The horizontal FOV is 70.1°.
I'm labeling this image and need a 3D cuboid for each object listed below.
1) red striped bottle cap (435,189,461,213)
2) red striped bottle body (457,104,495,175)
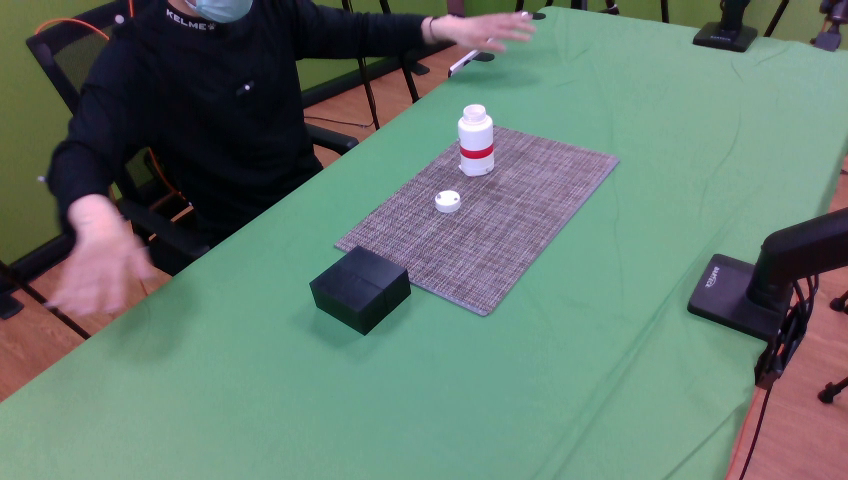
[{"bbox_3d":[0.042,-0.068,1.040,0.044,0.018,0.044,-5,46,6],"label":"red striped bottle cap"},{"bbox_3d":[0.093,-0.182,1.085,0.063,0.120,0.062,-4,41,4],"label":"red striped bottle body"}]
